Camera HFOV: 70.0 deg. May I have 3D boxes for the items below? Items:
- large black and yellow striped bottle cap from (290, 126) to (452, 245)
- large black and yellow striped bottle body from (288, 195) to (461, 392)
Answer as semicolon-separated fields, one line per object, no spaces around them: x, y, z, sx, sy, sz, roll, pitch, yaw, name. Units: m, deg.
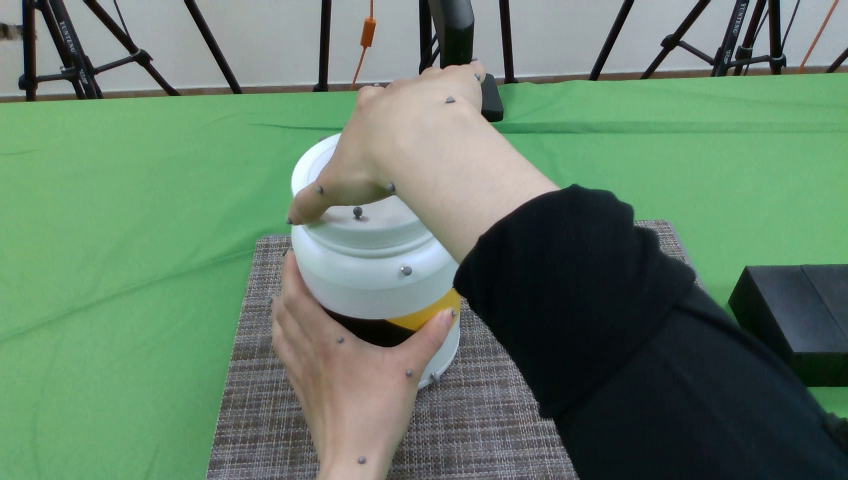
-0.037;-0.042;0.428;0.115;0.019;0.114;-1;45;1;large black and yellow striped bottle cap
-0.036;0.021;0.489;0.131;0.185;0.129;0;43;1;large black and yellow striped bottle body
